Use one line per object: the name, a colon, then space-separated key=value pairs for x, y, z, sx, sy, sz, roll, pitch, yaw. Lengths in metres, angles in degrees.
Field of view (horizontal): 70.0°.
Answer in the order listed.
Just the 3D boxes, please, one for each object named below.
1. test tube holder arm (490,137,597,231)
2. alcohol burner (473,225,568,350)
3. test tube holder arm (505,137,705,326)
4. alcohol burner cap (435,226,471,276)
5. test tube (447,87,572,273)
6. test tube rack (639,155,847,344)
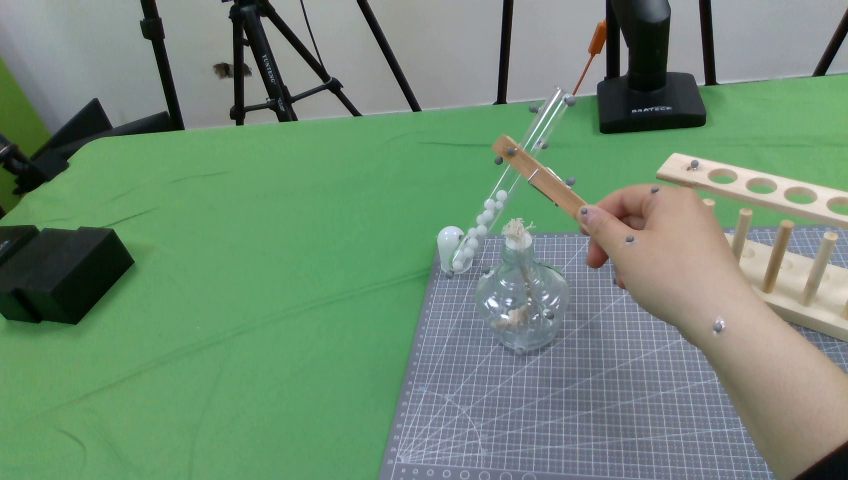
test tube holder arm: x=0.082 y=-0.039 z=0.416 sx=0.087 sy=0.015 sz=0.010 roll=42 pitch=23 yaw=10
alcohol burner: x=0.076 y=0.033 z=0.485 sx=0.078 sy=0.120 sz=0.077 roll=-7 pitch=41 yaw=6
test tube holder arm: x=0.115 y=-0.010 z=0.410 sx=0.177 sy=0.015 sz=0.013 roll=45 pitch=24 yaw=16
alcohol burner cap: x=0.027 y=0.008 z=0.587 sx=0.034 sy=0.048 sz=0.033 roll=-7 pitch=40 yaw=6
test tube: x=0.058 y=-0.039 z=0.431 sx=0.017 sy=0.150 sz=0.017 roll=28 pitch=16 yaw=-8
test tube rack: x=0.293 y=0.012 z=0.472 sx=0.240 sy=0.086 sz=0.066 roll=23 pitch=51 yaw=36
